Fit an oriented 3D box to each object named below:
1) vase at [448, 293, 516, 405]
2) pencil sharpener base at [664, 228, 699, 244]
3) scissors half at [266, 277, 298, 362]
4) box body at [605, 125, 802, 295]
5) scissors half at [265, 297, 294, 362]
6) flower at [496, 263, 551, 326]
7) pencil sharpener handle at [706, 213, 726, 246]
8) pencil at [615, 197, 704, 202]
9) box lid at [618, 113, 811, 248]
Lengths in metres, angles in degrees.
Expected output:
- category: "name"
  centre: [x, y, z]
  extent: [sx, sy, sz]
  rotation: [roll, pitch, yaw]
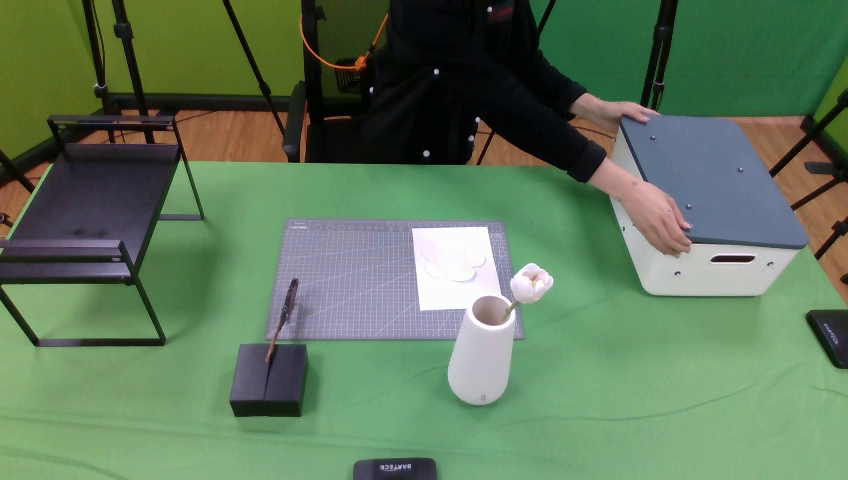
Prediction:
- category: "vase"
  centre: [0.091, 0.169, 0.921]
  extent: [0.098, 0.201, 0.097]
  rotation: [3, 47, -3]
- category: "pencil sharpener base"
  centre: [0.531, -0.034, 1.202]
  extent: [0.076, 0.107, 0.061]
  rotation: [30, 51, 21]
- category: "scissors half"
  centre: [-0.234, 0.127, 0.993]
  extent: [0.013, 0.040, 0.174]
  rotation: [13, 46, -5]
- category: "box body"
  centre: [0.529, -0.068, 1.205]
  extent: [0.254, 0.161, 0.361]
  rotation: [1, 46, -4]
- category: "scissors half"
  centre: [-0.240, 0.142, 1.005]
  extent: [0.013, 0.040, 0.174]
  rotation: [18, 27, -8]
- category: "flower"
  centre: [0.102, 0.120, 0.853]
  extent: [0.044, 0.363, 0.038]
  rotation: [-2, 64, -10]
- category: "pencil sharpener handle"
  centre: [0.572, -0.018, 1.174]
  extent: [0.030, 0.068, 0.036]
  rotation: [30, 48, 21]
- category: "pencil"
  centre: [0.512, -0.090, 1.322]
  extent: [0.194, 0.012, 0.012]
  rotation: [1, 46, 0]
- category: "box lid"
  centre: [0.533, -0.123, 1.145]
  extent: [0.263, 0.015, 0.369]
  rotation: [3, 45, -6]
